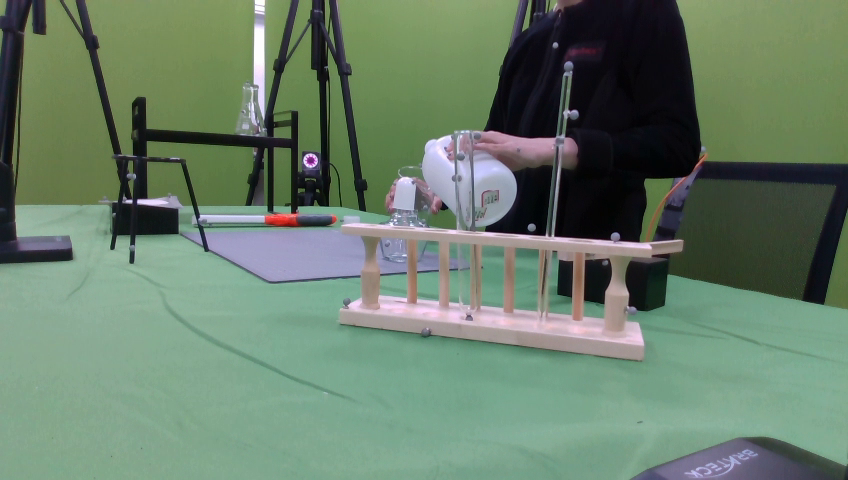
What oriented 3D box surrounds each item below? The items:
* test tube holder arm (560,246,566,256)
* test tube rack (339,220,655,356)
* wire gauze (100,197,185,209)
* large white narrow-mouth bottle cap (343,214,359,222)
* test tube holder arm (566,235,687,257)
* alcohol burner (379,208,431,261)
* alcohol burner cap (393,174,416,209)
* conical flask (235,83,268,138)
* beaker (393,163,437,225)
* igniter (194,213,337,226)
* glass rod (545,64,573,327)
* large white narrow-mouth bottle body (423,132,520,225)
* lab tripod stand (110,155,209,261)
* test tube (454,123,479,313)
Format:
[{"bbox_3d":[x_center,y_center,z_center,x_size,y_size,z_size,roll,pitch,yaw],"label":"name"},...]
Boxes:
[{"bbox_3d":[0.173,0.007,0.612,0.088,0.015,0.010,-3,9,-29],"label":"test tube holder arm"},{"bbox_3d":[0.056,0.032,0.495,0.242,0.085,0.067,4,7,15],"label":"test tube rack"},{"bbox_3d":[-0.469,-0.062,1.008,0.126,0.011,0.121,-2,8,-25],"label":"wire gauze"},{"bbox_3d":[-0.155,-0.043,1.282,0.038,0.024,0.037,2,8,0],"label":"large white narrow-mouth bottle cap"},{"bbox_3d":[0.215,0.006,0.630,0.179,0.015,0.013,-3,9,-31],"label":"test tube holder arm"},{"bbox_3d":[-0.027,-0.031,0.838,0.078,0.119,0.078,0,6,0],"label":"alcohol burner"},{"bbox_3d":[-0.025,-0.067,0.834,0.034,0.048,0.034,8,7,-1],"label":"alcohol burner cap"},{"bbox_3d":[-0.402,-0.299,1.406,0.075,0.122,0.075,2,7,0],"label":"conical flask"},{"bbox_3d":[-0.014,-0.074,1.074,0.074,0.100,0.083,-4,33,-23],"label":"beaker"},{"bbox_3d":[-0.306,-0.041,1.197,0.278,0.025,0.057,-2,-2,-30],"label":"igniter"},{"bbox_3d":[0.101,-0.028,0.453,0.008,0.199,0.008,1,14,0],"label":"glass rod"},{"bbox_3d":[0.056,-0.109,0.921,0.102,0.101,0.193,-2,32,-29],"label":"large white narrow-mouth bottle body"},{"bbox_3d":[-0.361,-0.046,0.806,0.148,0.131,0.148,2,5,0],"label":"lab tripod stand"},{"bbox_3d":[0.034,-0.016,0.477,0.017,0.150,0.017,-2,9,1],"label":"test tube"}]
